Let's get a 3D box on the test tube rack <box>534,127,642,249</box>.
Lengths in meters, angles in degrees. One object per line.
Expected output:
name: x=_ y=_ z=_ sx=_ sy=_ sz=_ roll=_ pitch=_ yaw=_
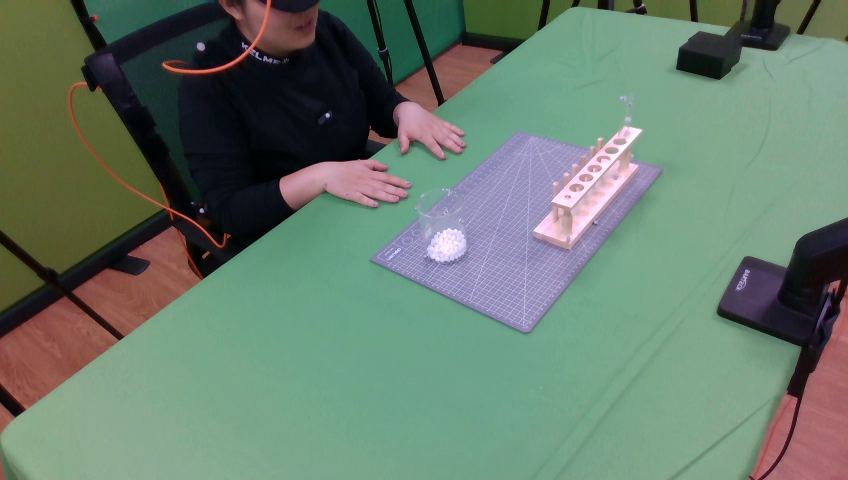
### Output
test tube rack: x=0.271 y=-0.095 z=0.990 sx=0.066 sy=0.085 sz=0.243 roll=23 pitch=49 yaw=33

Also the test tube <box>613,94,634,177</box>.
test tube: x=0.325 y=-0.168 z=0.989 sx=0.017 sy=0.151 sz=0.017 roll=-3 pitch=40 yaw=3

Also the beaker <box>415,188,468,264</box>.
beaker: x=0.031 y=-0.021 z=0.937 sx=0.073 sy=0.101 sz=0.084 roll=8 pitch=42 yaw=20
